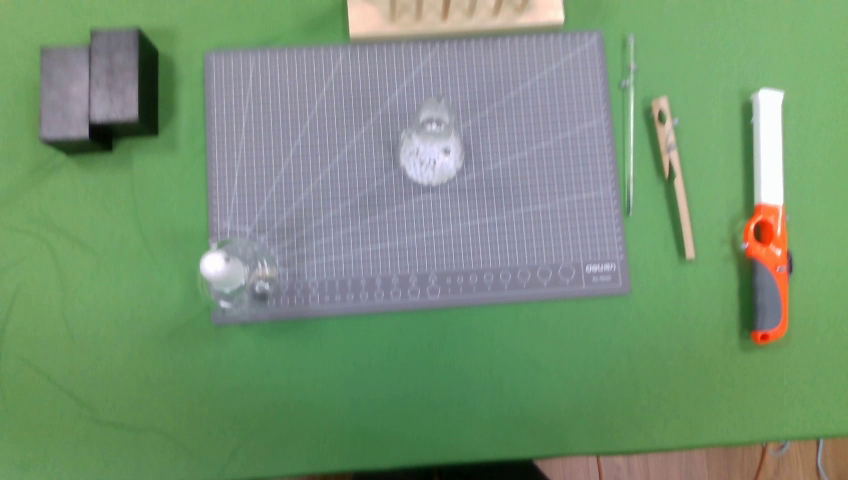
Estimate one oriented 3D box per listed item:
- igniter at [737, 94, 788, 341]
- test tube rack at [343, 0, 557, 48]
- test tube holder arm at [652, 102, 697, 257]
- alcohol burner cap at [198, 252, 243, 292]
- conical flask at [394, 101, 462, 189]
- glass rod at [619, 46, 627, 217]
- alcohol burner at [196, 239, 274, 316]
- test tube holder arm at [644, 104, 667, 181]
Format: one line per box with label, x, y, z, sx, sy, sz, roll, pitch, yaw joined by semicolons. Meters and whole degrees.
igniter;0.373;-0.027;0.669;0.057;0.025;0.275;5;82;-11
test tube rack;0.031;-0.268;0.664;0.242;0.085;0.066;-5;81;-3
test tube holder arm;0.277;-0.068;0.674;0.013;0.015;0.177;-17;80;32
alcohol burner cap;-0.190;0.027;0.560;0.034;0.048;0.033;0;73;-1
conical flask;0.005;-0.100;0.617;0.075;0.122;0.075;0;81;-1
glass rod;0.226;-0.125;0.687;0.008;0.008;0.199;3;84;-2
alcohol burner;-0.190;0.035;0.595;0.078;0.119;0.077;0;80;0
test tube holder arm;0.264;-0.110;0.683;0.010;0.015;0.087;-16;81;33
